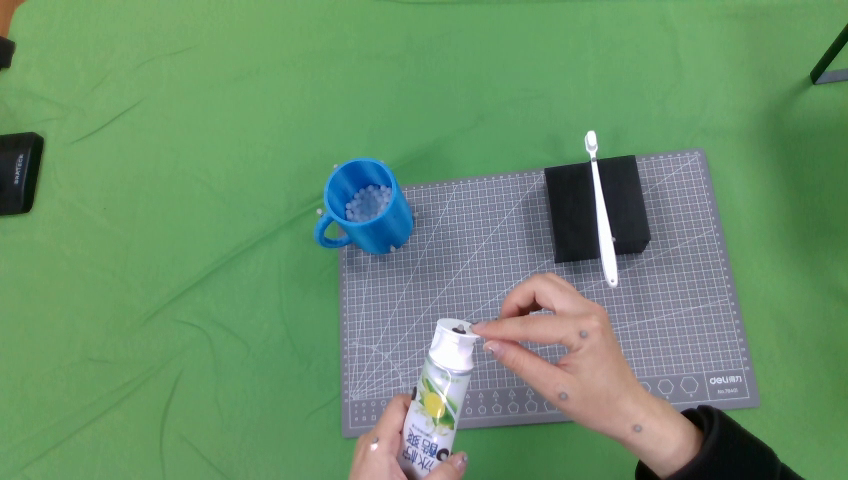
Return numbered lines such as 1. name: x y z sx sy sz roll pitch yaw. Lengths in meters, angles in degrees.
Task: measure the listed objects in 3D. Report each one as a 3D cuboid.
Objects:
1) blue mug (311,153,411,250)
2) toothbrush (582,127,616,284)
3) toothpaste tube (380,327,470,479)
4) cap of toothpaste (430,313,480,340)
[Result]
1. blue mug: -0.078 -0.033 0.703 0.116 0.106 0.082 -33 71 -2
2. toothbrush: 0.191 -0.041 0.660 0.014 0.017 0.180 -4 73 1
3. toothpaste tube: 0.001 0.138 0.455 0.054 0.035 0.165 22 106 31
4. cap of toothpaste: 0.021 0.063 0.434 0.037 0.037 0.011 14 100 13
